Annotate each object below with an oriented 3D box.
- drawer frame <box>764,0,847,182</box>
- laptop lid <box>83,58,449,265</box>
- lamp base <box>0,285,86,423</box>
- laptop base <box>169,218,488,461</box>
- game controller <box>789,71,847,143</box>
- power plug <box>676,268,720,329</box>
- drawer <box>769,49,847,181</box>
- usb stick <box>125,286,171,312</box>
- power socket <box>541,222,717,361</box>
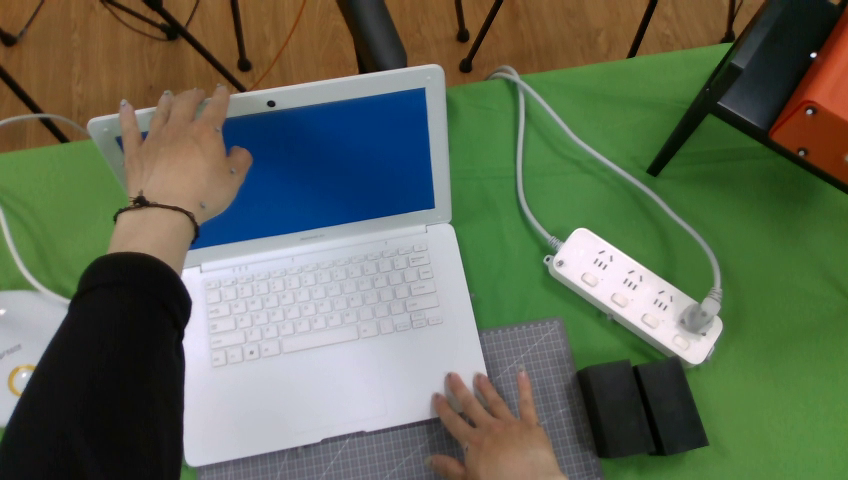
[{"bbox_3d":[0.488,-0.147,0.603,0.201,0.083,0.213,34,74,10],"label":"drawer frame"},{"bbox_3d":[-0.148,-0.076,0.676,0.357,0.244,0.013,-11,49,-4],"label":"laptop lid"},{"bbox_3d":[-0.485,0.097,0.637,0.160,0.181,0.178,-40,74,-13],"label":"lamp base"},{"bbox_3d":[-0.118,0.110,0.728,0.355,0.023,0.234,-10,75,-5],"label":"laptop base"},{"bbox_3d":[0.464,-0.107,0.605,0.154,0.052,0.097,38,79,13],"label":"game controller"},{"bbox_3d":[0.329,0.075,0.717,0.072,0.053,0.035,-41,76,-15],"label":"power plug"},{"bbox_3d":[0.489,-0.144,0.603,0.194,0.073,0.211,35,74,10],"label":"drawer"},{"bbox_3d":[-0.322,0.070,0.724,0.059,0.027,0.021,-6,65,-7],"label":"usb stick"},{"bbox_3d":[0.252,0.062,0.744,0.226,0.033,0.072,36,74,10],"label":"power socket"}]
